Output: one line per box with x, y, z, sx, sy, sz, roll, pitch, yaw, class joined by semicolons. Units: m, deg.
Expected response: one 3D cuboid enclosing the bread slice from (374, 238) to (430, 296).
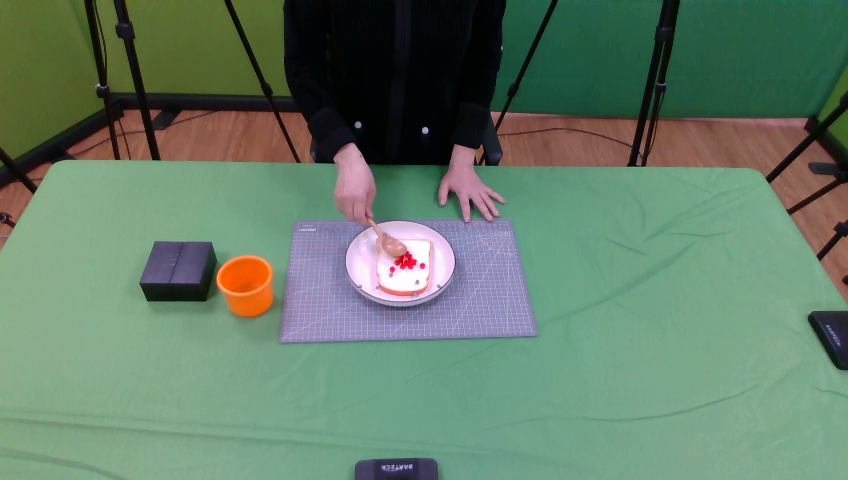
-0.039;0.048;1.135;0.107;0.018;0.133;-1;47;-4;bread slice

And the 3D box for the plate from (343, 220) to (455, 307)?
-0.047;0.046;1.135;0.209;0.038;0.208;2;46;-2;plate

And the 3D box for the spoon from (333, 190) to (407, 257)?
-0.105;-0.035;1.151;0.041;0.022;0.193;-35;73;-33;spoon
